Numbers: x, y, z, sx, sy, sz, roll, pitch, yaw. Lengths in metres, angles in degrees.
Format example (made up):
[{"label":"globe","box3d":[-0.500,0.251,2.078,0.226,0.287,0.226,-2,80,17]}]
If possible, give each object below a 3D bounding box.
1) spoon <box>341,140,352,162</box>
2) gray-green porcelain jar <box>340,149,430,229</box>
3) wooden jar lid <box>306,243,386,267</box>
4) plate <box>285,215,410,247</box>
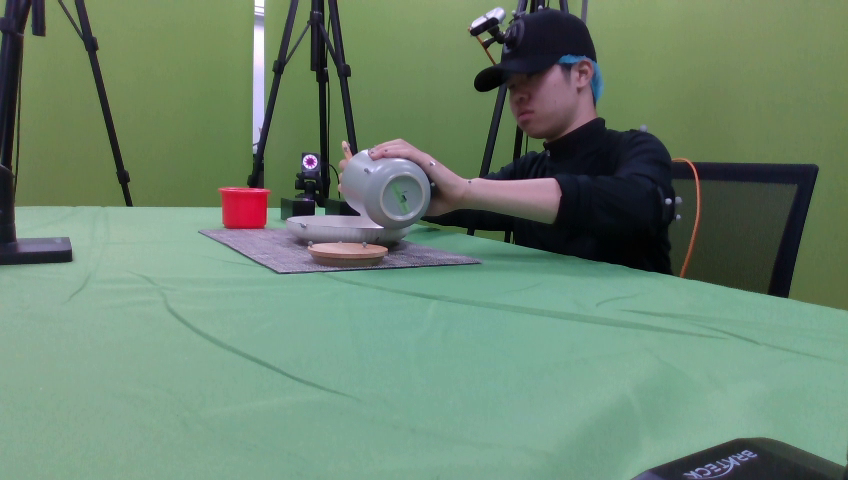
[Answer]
[{"label":"spoon","box3d":[-0.107,-0.106,0.986,0.042,0.021,0.193,9,34,-37]},{"label":"gray-green porcelain jar","box3d":[-0.057,-0.077,0.904,0.106,0.106,0.126,-1,15,-26]},{"label":"wooden jar lid","box3d":[-0.105,0.020,0.816,0.108,0.020,0.108,1,7,0]},{"label":"plate","box3d":[-0.127,-0.015,1.012,0.208,0.039,0.207,3,7,0]}]
